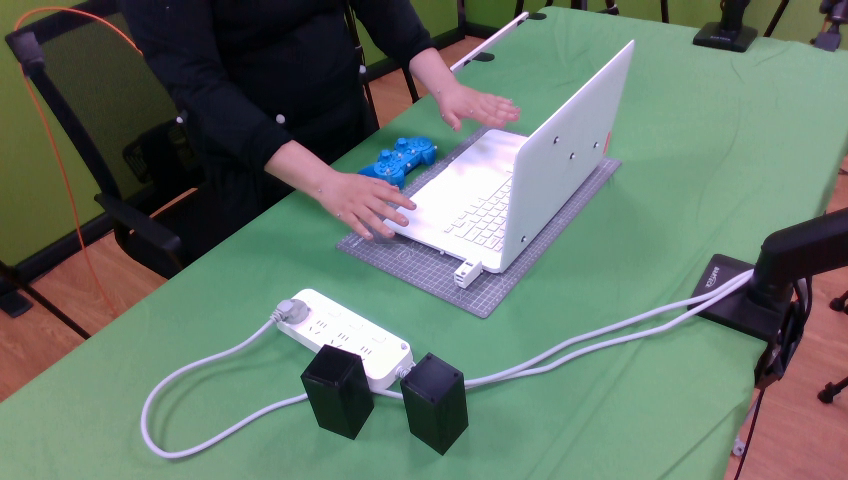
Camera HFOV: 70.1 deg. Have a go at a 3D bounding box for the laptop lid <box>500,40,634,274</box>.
[{"bbox_3d":[0.218,-0.128,0.906,0.013,0.242,0.358,28,50,25],"label":"laptop lid"}]

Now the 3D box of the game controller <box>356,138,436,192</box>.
[{"bbox_3d":[-0.048,-0.150,1.136,0.096,0.052,0.155,27,51,28],"label":"game controller"}]

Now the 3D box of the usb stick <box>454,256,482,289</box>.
[{"bbox_3d":[0.069,0.044,0.891,0.021,0.027,0.059,22,44,32],"label":"usb stick"}]

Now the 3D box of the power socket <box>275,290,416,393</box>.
[{"bbox_3d":[-0.114,0.132,0.821,0.225,0.033,0.072,24,48,32],"label":"power socket"}]

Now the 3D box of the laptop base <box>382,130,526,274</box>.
[{"bbox_3d":[0.123,-0.081,1.050,0.233,0.023,0.355,20,47,33],"label":"laptop base"}]

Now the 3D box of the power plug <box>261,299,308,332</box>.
[{"bbox_3d":[-0.193,0.109,0.830,0.073,0.053,0.035,-35,47,-24],"label":"power plug"}]
